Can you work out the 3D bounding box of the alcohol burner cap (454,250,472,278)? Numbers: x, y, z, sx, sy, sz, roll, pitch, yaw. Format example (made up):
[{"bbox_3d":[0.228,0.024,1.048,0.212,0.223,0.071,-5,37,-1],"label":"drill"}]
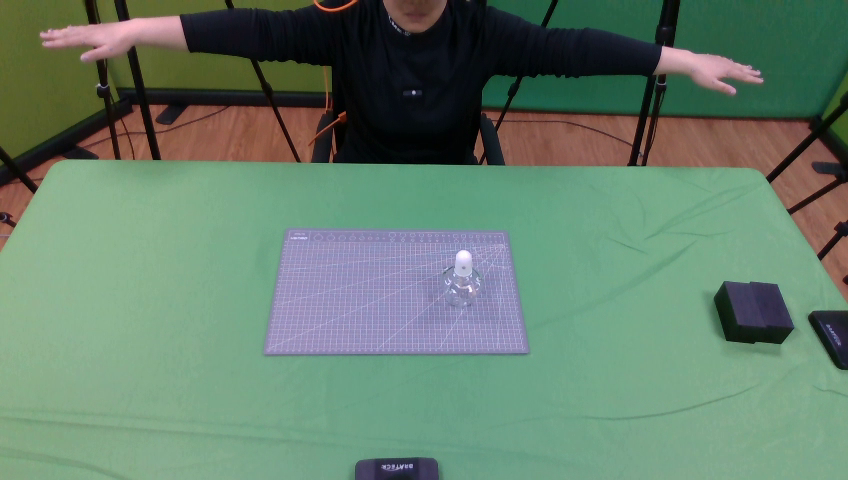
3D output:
[{"bbox_3d":[0.068,0.039,1.049,0.034,0.048,0.033,-2,45,2],"label":"alcohol burner cap"}]

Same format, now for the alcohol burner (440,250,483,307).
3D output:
[{"bbox_3d":[0.068,0.063,1.076,0.078,0.120,0.077,1,45,-1],"label":"alcohol burner"}]
